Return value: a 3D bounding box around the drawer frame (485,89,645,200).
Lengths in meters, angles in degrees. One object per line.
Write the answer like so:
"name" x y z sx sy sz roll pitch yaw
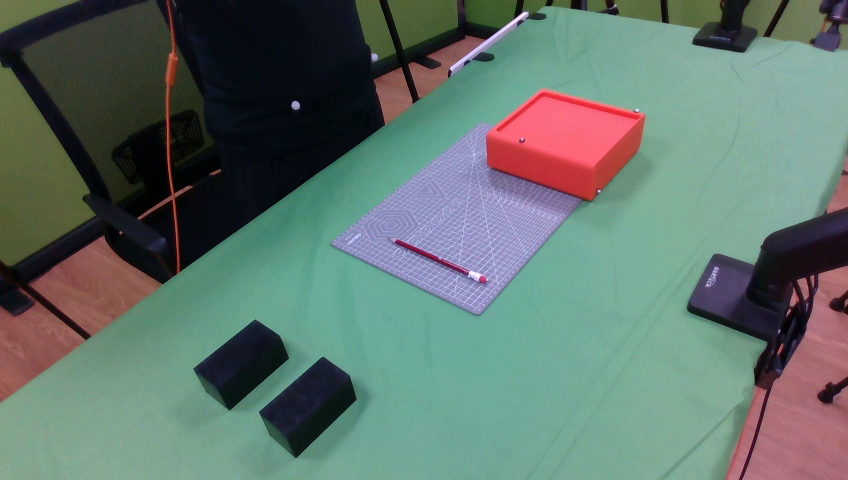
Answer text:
"drawer frame" 0.254 -0.179 1.094 0.212 0.083 0.202 24 48 30

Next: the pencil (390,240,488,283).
"pencil" 0.018 0.030 0.938 0.192 0.012 0.012 22 48 33

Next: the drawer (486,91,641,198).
"drawer" 0.251 -0.179 1.095 0.210 0.073 0.195 24 48 30
